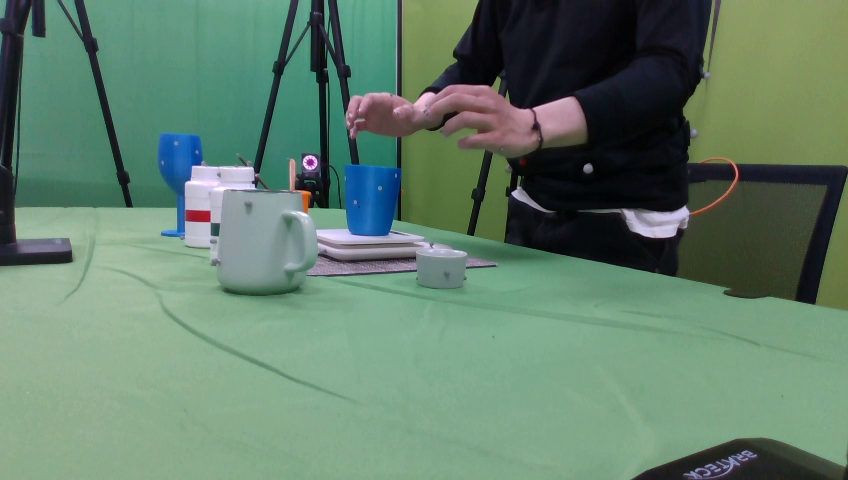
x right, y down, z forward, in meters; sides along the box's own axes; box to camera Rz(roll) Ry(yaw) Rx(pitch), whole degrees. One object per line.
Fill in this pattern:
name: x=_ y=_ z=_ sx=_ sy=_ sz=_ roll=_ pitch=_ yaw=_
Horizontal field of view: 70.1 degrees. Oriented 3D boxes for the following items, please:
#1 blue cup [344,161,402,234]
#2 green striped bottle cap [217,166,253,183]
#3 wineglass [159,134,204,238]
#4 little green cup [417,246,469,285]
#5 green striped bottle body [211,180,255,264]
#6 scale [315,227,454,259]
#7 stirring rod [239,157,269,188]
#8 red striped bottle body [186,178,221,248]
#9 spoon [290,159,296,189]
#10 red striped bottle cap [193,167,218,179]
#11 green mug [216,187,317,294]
blue cup: x=-0.077 y=-0.062 z=0.883 sx=0.093 sy=0.100 sz=0.092 roll=4 pitch=6 yaw=0
green striped bottle cap: x=-0.242 y=-0.085 z=0.777 sx=0.044 sy=0.020 sz=0.044 roll=2 pitch=8 yaw=0
wineglass: x=-0.415 y=-0.093 z=1.040 sx=0.074 sy=0.172 sz=0.073 roll=2 pitch=7 yaw=0
little green cup: x=0.021 y=0.029 z=0.701 sx=0.061 sy=0.038 sz=0.061 roll=1 pitch=6 yaw=0
green striped bottle body: x=-0.243 y=-0.029 z=0.784 sx=0.063 sy=0.119 sz=0.063 roll=2 pitch=7 yaw=0
scale: x=-0.066 y=0.001 z=0.906 sx=0.202 sy=0.031 sz=0.148 roll=-2 pitch=8 yaw=-31
stirring rod: x=-0.309 y=-0.098 z=1.209 sx=0.006 sy=0.177 sz=0.014 roll=-39 pitch=29 yaw=-4
red striped bottle body: x=-0.331 y=-0.050 z=0.927 sx=0.063 sy=0.119 sz=0.063 roll=2 pitch=6 yaw=0
spoon: x=-0.273 y=-0.102 z=1.252 sx=0.042 sy=0.193 sz=0.021 roll=7 pitch=-38 yaw=-17
red striped bottle cap: x=-0.329 y=-0.103 z=0.921 sx=0.044 sy=0.017 sz=0.044 roll=0 pitch=9 yaw=0
green mug: x=-0.157 y=0.000 z=0.629 sx=0.124 sy=0.105 sz=0.093 roll=7 pitch=9 yaw=37
